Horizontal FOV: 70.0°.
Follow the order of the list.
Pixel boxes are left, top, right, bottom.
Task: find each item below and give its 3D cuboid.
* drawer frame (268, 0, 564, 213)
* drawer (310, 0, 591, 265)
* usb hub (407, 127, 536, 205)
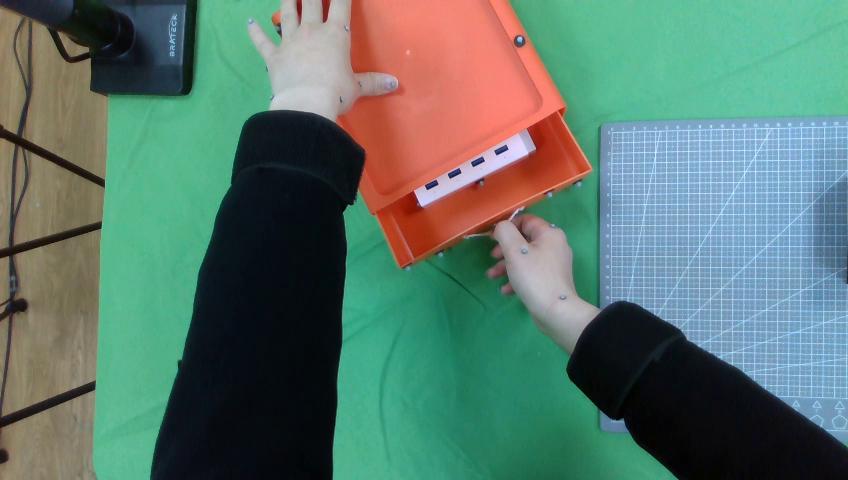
[{"bbox_3d":[-0.007,-0.162,0.576,0.201,0.083,0.213,-29,85,8],"label":"drawer frame"},{"bbox_3d":[0.021,-0.110,0.573,0.194,0.073,0.211,-27,87,8],"label":"drawer"},{"bbox_3d":[0.041,-0.073,0.586,0.125,0.025,0.049,-14,89,14],"label":"usb hub"}]
